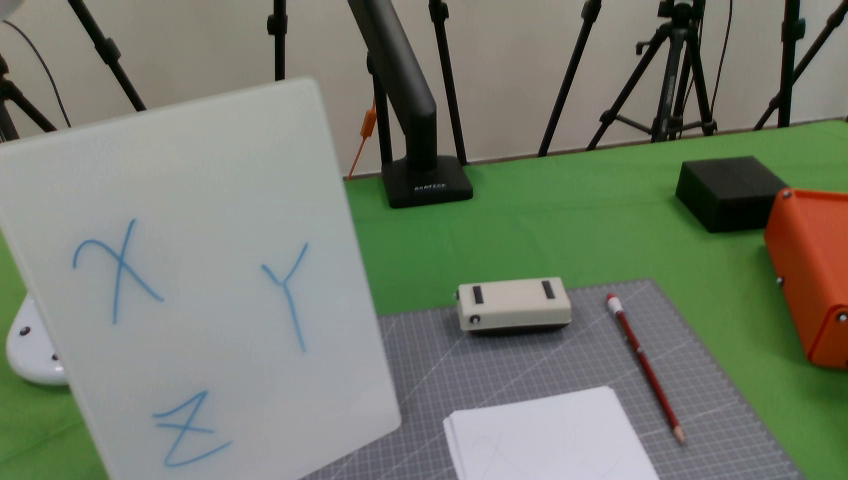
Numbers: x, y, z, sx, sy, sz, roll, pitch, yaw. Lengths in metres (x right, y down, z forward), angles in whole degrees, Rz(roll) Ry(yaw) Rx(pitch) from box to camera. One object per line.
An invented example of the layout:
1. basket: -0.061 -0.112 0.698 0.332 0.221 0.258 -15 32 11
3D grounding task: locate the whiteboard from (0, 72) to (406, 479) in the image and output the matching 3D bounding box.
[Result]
1. whiteboard: -0.170 0.041 0.498 0.218 0.307 0.142 -20 20 -23

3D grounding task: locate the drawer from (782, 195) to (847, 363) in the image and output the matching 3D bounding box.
1. drawer: 0.482 0.039 0.615 0.194 0.074 0.210 5 35 12

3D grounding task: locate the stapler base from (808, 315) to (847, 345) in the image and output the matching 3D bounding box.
1. stapler base: 0.458 0.087 0.599 0.130 0.024 0.041 5 32 18

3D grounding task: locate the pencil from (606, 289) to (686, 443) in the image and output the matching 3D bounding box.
1. pencil: 0.211 0.112 0.583 0.012 0.012 0.192 -4 37 -3

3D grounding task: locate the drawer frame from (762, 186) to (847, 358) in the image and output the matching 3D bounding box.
1. drawer frame: 0.482 0.035 0.619 0.201 0.083 0.212 5 35 11

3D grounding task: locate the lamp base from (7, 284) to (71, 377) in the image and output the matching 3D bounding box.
1. lamp base: -0.361 0.017 0.600 0.178 0.182 0.160 16 39 28

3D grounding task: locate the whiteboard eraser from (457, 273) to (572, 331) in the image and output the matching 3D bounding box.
1. whiteboard eraser: 0.092 0.065 0.627 0.113 0.042 0.055 -4 36 -2

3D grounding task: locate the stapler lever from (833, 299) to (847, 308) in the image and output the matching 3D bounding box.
1. stapler lever: 0.458 0.059 0.582 0.117 0.040 0.026 11 34 14

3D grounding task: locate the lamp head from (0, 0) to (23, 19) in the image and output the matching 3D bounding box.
1. lamp head: -0.343 -0.216 0.402 0.122 0.113 0.112 44 52 16
